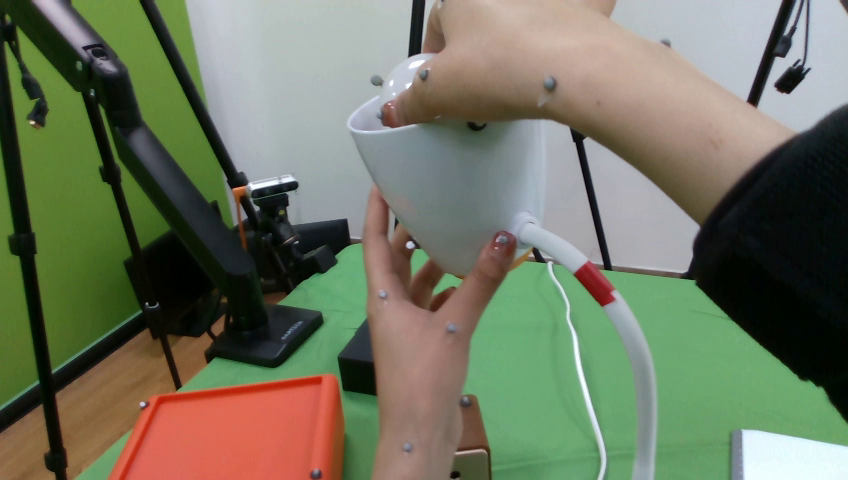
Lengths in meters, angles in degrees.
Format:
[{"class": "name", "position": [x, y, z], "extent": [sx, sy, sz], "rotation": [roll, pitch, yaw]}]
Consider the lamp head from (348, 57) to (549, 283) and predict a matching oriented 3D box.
[{"class": "lamp head", "position": [0.028, -0.035, 0.364], "extent": [0.112, 0.124, 0.111], "rotation": [-20, 21, 9]}]

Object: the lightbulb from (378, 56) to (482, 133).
[{"class": "lightbulb", "position": [0.013, -0.055, 0.356], "extent": [0.059, 0.109, 0.059], "rotation": [-20, 31, 13]}]

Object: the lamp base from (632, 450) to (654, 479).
[{"class": "lamp base", "position": [0.142, 0.234, 0.363], "extent": [0.161, 0.181, 0.178], "rotation": [-8, 22, -5]}]

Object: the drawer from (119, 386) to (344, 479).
[{"class": "drawer", "position": [-0.176, 0.231, 0.552], "extent": [0.194, 0.074, 0.210], "rotation": [-7, 24, -2]}]

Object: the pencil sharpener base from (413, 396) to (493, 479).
[{"class": "pencil sharpener base", "position": [0.026, 0.203, 0.540], "extent": [0.061, 0.108, 0.076], "rotation": [-7, 25, -2]}]

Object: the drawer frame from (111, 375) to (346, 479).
[{"class": "drawer frame", "position": [-0.178, 0.229, 0.554], "extent": [0.202, 0.083, 0.211], "rotation": [-7, 24, -3]}]

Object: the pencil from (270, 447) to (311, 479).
[{"class": "pencil", "position": [-0.173, 0.248, 0.525], "extent": [0.012, 0.012, 0.194], "rotation": [19, 47, 42]}]

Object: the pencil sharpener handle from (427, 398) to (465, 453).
[{"class": "pencil sharpener handle", "position": [0.020, 0.171, 0.581], "extent": [0.036, 0.068, 0.030], "rotation": [-2, 25, -4]}]
